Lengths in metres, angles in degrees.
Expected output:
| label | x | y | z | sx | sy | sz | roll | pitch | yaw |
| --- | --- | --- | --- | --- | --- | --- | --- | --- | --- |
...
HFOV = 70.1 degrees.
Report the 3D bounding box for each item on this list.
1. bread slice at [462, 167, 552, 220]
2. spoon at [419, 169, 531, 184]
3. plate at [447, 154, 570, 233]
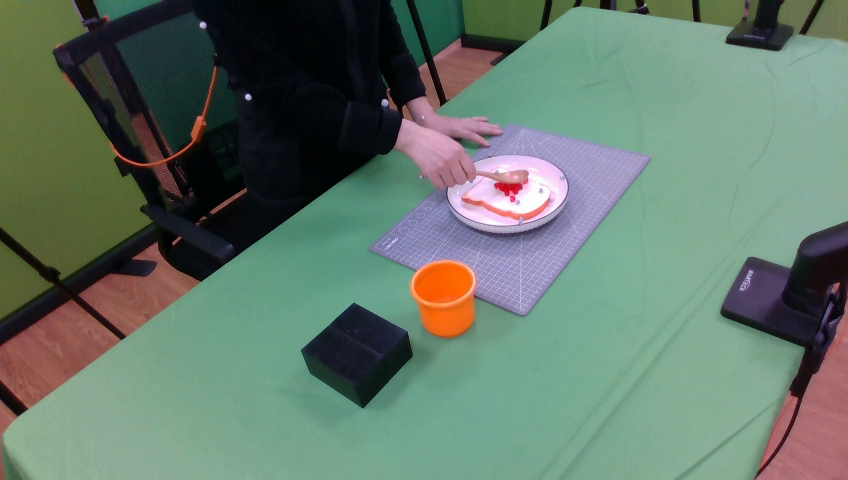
| label | x | y | z | sx | sy | sz | roll | pitch | yaw |
| --- | --- | --- | --- | --- | --- | --- | --- | --- | --- |
| bread slice | 0.150 | -0.079 | 1.036 | 0.133 | 0.018 | 0.107 | 22 | 49 | 32 |
| spoon | 0.086 | -0.110 | 1.012 | 0.195 | 0.021 | 0.041 | 2 | 32 | -14 |
| plate | 0.143 | -0.076 | 1.032 | 0.209 | 0.038 | 0.208 | -5 | 40 | 5 |
